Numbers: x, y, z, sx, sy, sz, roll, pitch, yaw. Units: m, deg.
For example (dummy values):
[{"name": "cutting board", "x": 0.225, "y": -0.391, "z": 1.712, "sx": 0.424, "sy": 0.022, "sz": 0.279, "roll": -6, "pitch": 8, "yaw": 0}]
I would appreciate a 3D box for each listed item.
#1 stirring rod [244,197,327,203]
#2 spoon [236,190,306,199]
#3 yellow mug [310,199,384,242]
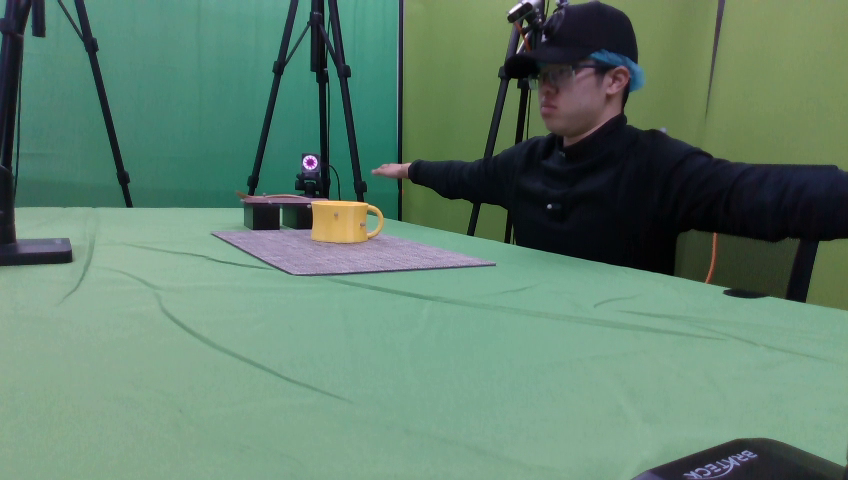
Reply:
[{"name": "stirring rod", "x": -0.271, "y": -0.079, "z": 1.201, "sx": 0.177, "sy": 0.006, "sz": 0.014, "roll": -2, "pitch": 46, "yaw": -36}, {"name": "spoon", "x": -0.290, "y": -0.088, "z": 1.248, "sx": 0.195, "sy": 0.021, "sz": 0.041, "roll": 0, "pitch": 5, "yaw": -32}, {"name": "yellow mug", "x": -0.132, "y": -0.035, "z": 1.054, "sx": 0.131, "sy": 0.064, "sz": 0.099, "roll": 0, "pitch": 8, "yaw": -23}]
